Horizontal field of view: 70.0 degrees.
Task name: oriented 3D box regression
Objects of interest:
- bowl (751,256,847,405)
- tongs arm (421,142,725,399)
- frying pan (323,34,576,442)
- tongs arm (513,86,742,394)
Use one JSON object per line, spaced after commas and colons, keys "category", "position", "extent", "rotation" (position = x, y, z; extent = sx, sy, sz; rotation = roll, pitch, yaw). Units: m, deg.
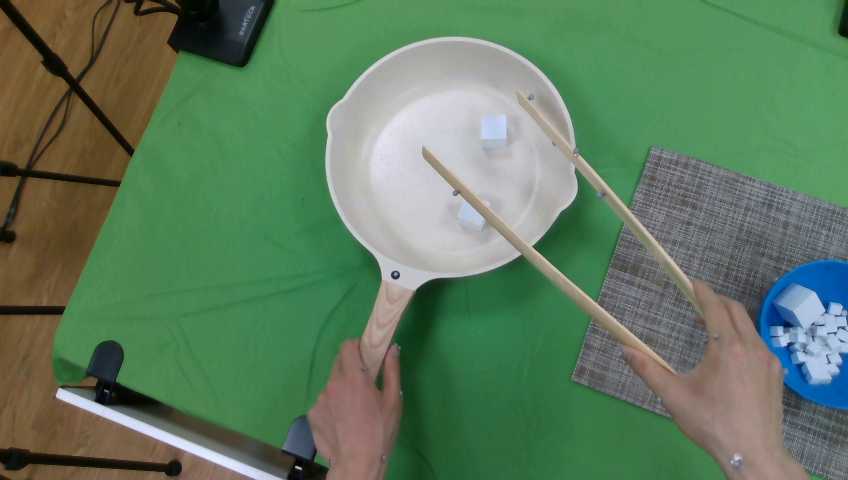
{"category": "bowl", "position": [0.418, 0.097, 0.647], "extent": [0.151, 0.077, 0.150], "rotation": [-1, 79, 5]}
{"category": "tongs arm", "position": [0.119, 0.015, 0.591], "extent": [0.028, 0.028, 0.384], "rotation": [-36, 60, -15]}
{"category": "frying pan", "position": [-0.010, -0.007, 0.700], "extent": [0.306, 0.103, 0.486], "rotation": [20, 74, 10]}
{"category": "tongs arm", "position": [0.177, -0.023, 0.600], "extent": [0.051, 0.027, 0.381], "rotation": [-30, 60, -8]}
